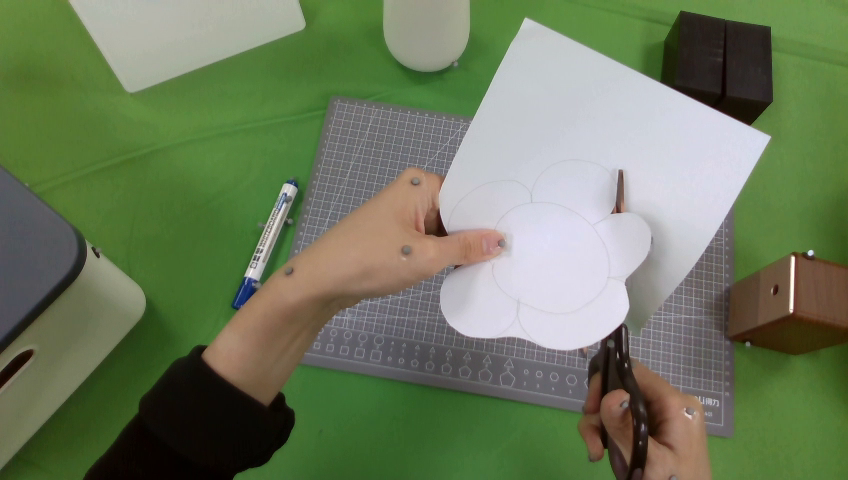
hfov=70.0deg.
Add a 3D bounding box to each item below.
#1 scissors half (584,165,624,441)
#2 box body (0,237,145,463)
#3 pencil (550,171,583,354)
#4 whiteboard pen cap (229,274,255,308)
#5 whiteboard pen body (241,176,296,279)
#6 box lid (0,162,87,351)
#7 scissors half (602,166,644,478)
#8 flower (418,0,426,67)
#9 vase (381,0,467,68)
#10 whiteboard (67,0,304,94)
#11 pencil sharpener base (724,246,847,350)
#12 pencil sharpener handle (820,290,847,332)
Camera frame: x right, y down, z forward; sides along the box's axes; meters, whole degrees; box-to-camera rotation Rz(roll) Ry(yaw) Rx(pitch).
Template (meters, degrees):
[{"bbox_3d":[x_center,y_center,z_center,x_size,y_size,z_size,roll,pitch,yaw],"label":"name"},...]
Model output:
[{"bbox_3d":[0.109,0.042,0.360,0.013,0.040,0.176,0,112,0],"label":"scissors half"},{"bbox_3d":[-0.468,0.024,0.524,0.362,0.161,0.253,35,73,11],"label":"box body"},{"bbox_3d":[0.146,0.019,0.617,0.012,0.012,0.192,-4,72,-2],"label":"pencil"},{"bbox_3d":[-0.177,0.049,0.595,0.018,0.018,0.033,15,66,5],"label":"whiteboard pen cap"},{"bbox_3d":[-0.161,-0.003,0.616,0.017,0.017,0.140,16,69,5],"label":"whiteboard pen body"},{"bbox_3d":[-0.469,-0.004,0.455,0.370,0.015,0.262,35,73,11],"label":"box lid"},{"bbox_3d":[0.109,0.045,0.339,0.013,0.040,0.175,-1,87,-5],"label":"scissors half"},{"bbox_3d":[-0.005,-0.311,0.547,0.044,0.365,0.038,2,52,4],"label":"flower"},{"bbox_3d":[-0.001,-0.269,0.620,0.098,0.201,0.097,0,68,0],"label":"vase"},{"bbox_3d":[-0.286,-0.348,0.619,0.217,0.308,0.142,-24,53,-9],"label":"whiteboard"},{"bbox_3d":[0.340,0.057,0.556,0.077,0.107,0.061,13,69,1],"label":"pencil sharpener base"},{"bbox_3d":[0.390,0.066,0.544,0.030,0.068,0.035,13,64,1],"label":"pencil sharpener handle"}]
